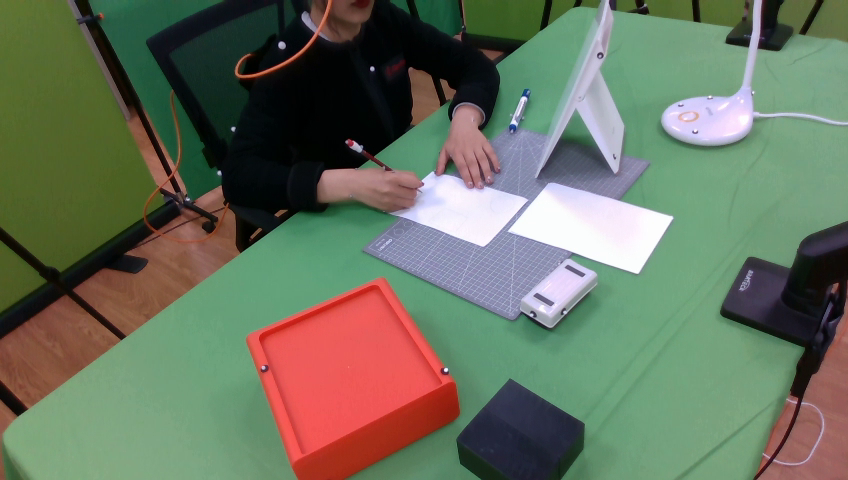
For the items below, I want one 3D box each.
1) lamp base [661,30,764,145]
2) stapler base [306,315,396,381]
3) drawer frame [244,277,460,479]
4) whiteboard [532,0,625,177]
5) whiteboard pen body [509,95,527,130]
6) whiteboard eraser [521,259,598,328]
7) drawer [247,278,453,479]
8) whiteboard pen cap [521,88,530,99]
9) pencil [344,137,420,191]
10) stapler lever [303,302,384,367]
[{"bbox_3d":[0.535,-0.287,1.096,0.179,0.181,0.159,-10,40,-4],"label":"lamp base"},{"bbox_3d":[-0.101,0.139,0.819,0.131,0.024,0.041,-31,37,-13],"label":"stapler base"},{"bbox_3d":[-0.093,0.167,0.755,0.202,0.083,0.211,-23,43,-17],"label":"drawer frame"},{"bbox_3d":[0.321,-0.258,1.050,0.144,0.306,0.217,21,45,5],"label":"whiteboard"},{"bbox_3d":[0.199,-0.273,1.261,0.017,0.017,0.140,8,44,19],"label":"whiteboard pen body"},{"bbox_3d":[0.189,0.076,0.843,0.055,0.042,0.113,29,53,37],"label":"whiteboard eraser"},{"bbox_3d":[-0.096,0.167,0.758,0.195,0.073,0.210,-22,43,-16],"label":"drawer"},{"bbox_3d":[0.218,-0.312,1.301,0.018,0.018,0.033,6,46,18],"label":"whiteboard pen cap"},{"bbox_3d":[-0.065,-0.124,1.032,0.012,0.196,0.012,-19,57,32],"label":"pencil"},{"bbox_3d":[-0.108,0.124,0.805,0.118,0.040,0.026,-27,36,-15],"label":"stapler lever"}]
